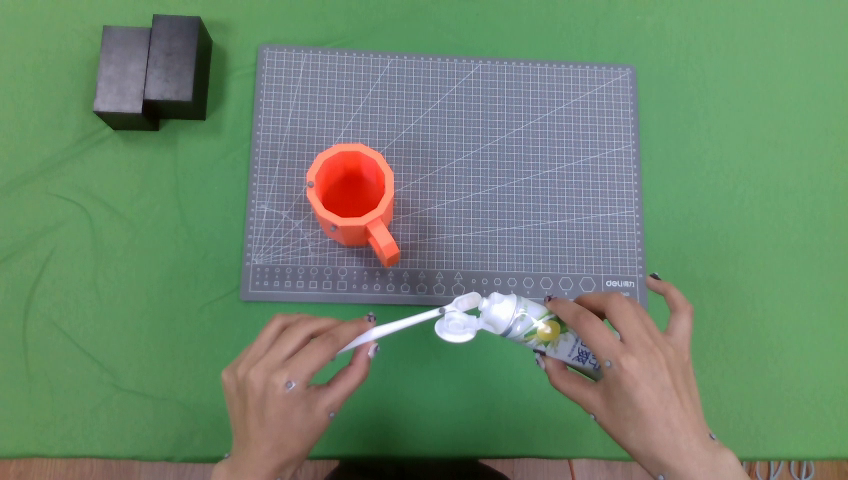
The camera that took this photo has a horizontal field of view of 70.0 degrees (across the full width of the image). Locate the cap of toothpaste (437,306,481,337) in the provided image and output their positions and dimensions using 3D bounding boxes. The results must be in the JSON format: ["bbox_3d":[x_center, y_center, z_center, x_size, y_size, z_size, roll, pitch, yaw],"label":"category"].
[{"bbox_3d":[0.028,0.063,0.486,0.037,0.011,0.037,2,35,-1],"label":"cap of toothpaste"}]

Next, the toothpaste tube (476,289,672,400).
[{"bbox_3d":[0.117,0.079,0.486,0.165,0.034,0.055,21,102,-7],"label":"toothpaste tube"}]

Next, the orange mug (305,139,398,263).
[{"bbox_3d":[-0.066,-0.035,0.630,0.083,0.101,0.125,-32,78,-9],"label":"orange mug"}]

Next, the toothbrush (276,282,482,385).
[{"bbox_3d":[-0.038,0.077,0.490,0.182,0.014,0.016,-25,73,3],"label":"toothbrush"}]
